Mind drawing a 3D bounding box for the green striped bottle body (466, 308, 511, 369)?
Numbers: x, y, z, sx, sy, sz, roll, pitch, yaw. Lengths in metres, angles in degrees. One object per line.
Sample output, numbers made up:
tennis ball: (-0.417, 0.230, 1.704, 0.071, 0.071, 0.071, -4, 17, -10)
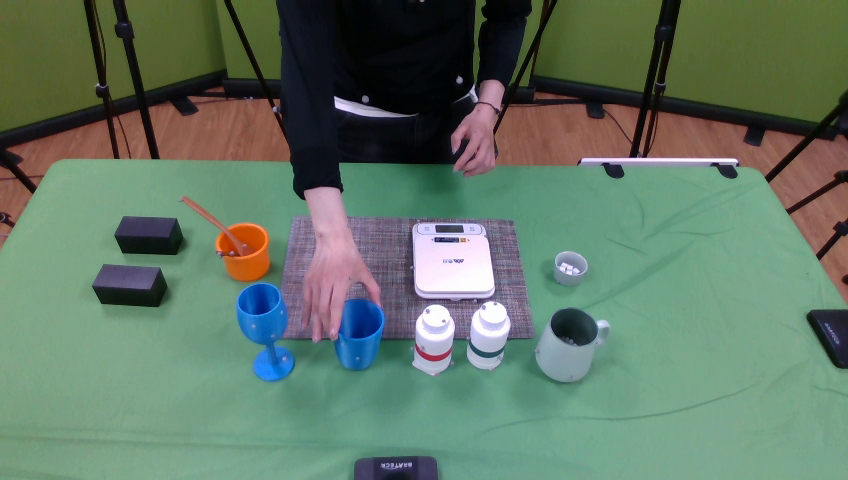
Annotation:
green striped bottle body: (0.105, 0.154, 0.987, 0.063, 0.120, 0.063, 2, 46, -2)

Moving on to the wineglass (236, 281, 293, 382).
wineglass: (-0.242, 0.143, 0.934, 0.074, 0.173, 0.073, 2, 46, -2)

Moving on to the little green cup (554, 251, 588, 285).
little green cup: (0.277, 0.055, 1.151, 0.061, 0.039, 0.061, 1, 46, -1)

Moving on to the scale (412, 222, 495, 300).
scale: (0.053, 0.031, 1.158, 0.149, 0.032, 0.199, 1, 46, -4)

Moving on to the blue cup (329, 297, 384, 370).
blue cup: (-0.109, 0.157, 0.978, 0.093, 0.100, 0.092, 4, 44, -4)

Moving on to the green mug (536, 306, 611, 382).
green mug: (0.250, 0.167, 0.996, 0.125, 0.105, 0.092, -15, 49, -19)

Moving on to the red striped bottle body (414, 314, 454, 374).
red striped bottle body: (0.016, 0.158, 0.977, 0.063, 0.120, 0.062, 1, 46, -1)

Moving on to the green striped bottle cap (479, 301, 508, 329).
green striped bottle cap: (0.109, 0.118, 0.950, 0.044, 0.020, 0.044, 2, 46, -2)

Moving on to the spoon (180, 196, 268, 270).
spoon: (-0.359, -0.014, 1.094, 0.021, 0.194, 0.041, -28, 26, 31)

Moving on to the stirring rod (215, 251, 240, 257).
stirring rod: (-0.340, 0.025, 1.060, 0.014, 0.176, 0.006, 15, 86, -6)

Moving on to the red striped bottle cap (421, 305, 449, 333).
red striped bottle cap: (0.018, 0.122, 0.938, 0.044, 0.018, 0.044, 3, 44, -3)
